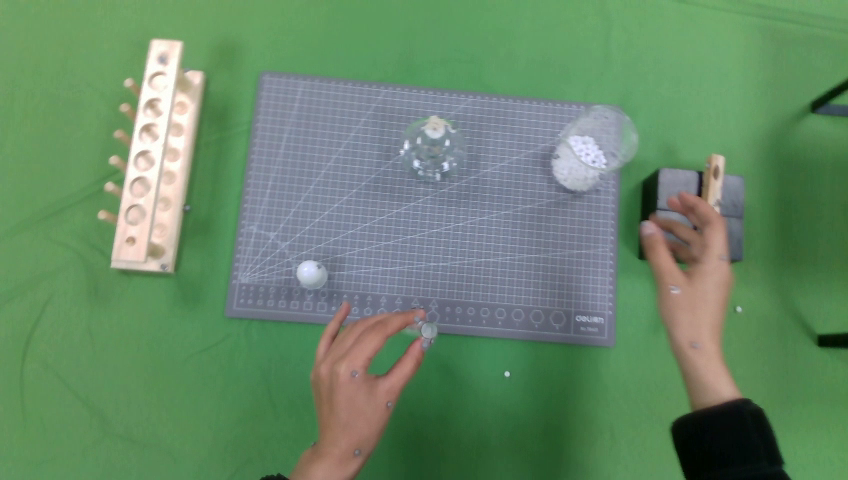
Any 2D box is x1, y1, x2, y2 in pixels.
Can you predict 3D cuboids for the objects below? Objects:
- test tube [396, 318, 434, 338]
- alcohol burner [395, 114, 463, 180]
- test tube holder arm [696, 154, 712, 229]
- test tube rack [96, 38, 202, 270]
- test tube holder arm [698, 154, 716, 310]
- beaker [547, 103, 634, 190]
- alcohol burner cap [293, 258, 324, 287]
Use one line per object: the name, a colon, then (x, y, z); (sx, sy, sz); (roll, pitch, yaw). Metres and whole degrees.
test tube: (-0.010, 0.080, 0.559); (0.017, 0.150, 0.017); (1, 83, -9)
alcohol burner: (0.006, -0.110, 0.678); (0.078, 0.119, 0.077); (0, 80, -1)
test tube holder arm: (0.318, -0.055, 0.689); (0.010, 0.015, 0.087); (7, 81, 1)
test tube rack: (-0.310, -0.094, 0.674); (0.067, 0.085, 0.241); (5, 80, -2)
test tube holder arm: (0.319, -0.010, 0.682); (0.013, 0.015, 0.178); (5, 81, 0)
beaker: (0.183, -0.102, 0.694); (0.084, 0.100, 0.073); (3, 79, -1)
alcohol burner cap: (-0.132, 0.035, 0.681); (0.034, 0.048, 0.033); (1, 81, -4)
